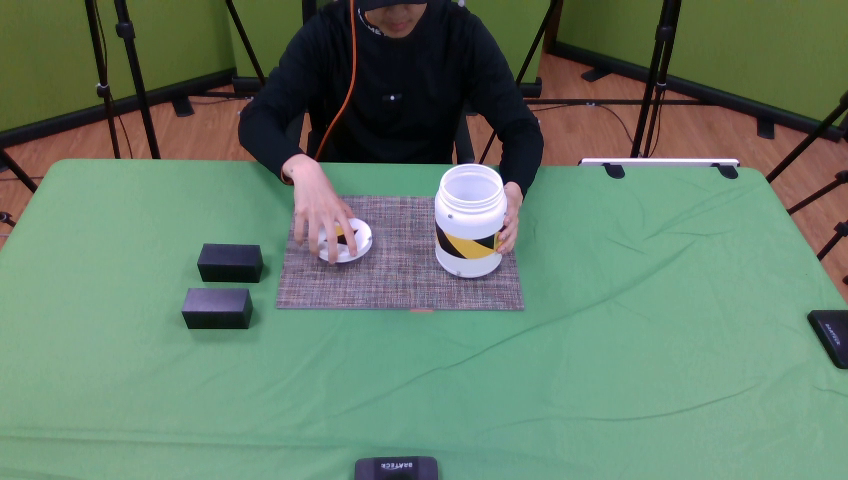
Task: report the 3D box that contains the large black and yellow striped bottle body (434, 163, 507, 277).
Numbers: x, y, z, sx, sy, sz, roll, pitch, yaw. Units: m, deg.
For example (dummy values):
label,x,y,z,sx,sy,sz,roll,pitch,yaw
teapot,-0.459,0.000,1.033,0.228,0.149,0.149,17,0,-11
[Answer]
label,x,y,z,sx,sy,sz,roll,pitch,yaw
large black and yellow striped bottle body,0.084,-0.037,1.112,0.131,0.185,0.130,-1,45,1

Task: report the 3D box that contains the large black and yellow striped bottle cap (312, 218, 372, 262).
label,x,y,z,sx,sy,sz,roll,pitch,yaw
large black and yellow striped bottle cap,-0.159,-0.002,1.168,0.115,0.019,0.114,-1,40,1
